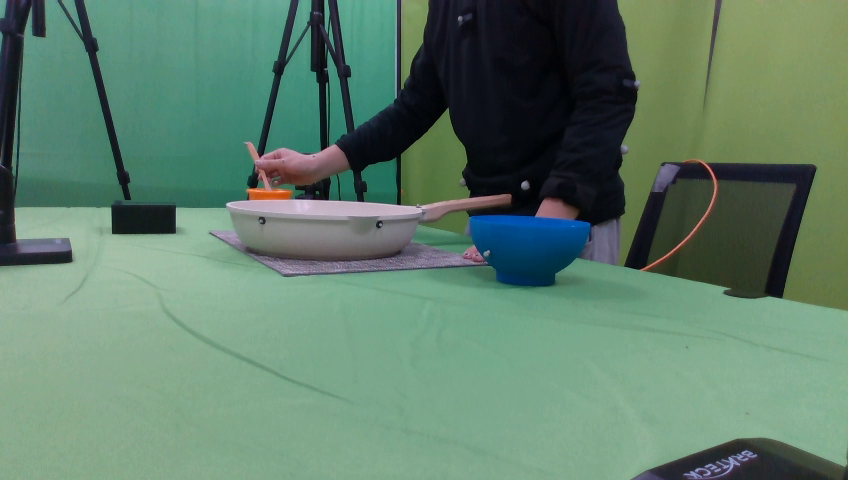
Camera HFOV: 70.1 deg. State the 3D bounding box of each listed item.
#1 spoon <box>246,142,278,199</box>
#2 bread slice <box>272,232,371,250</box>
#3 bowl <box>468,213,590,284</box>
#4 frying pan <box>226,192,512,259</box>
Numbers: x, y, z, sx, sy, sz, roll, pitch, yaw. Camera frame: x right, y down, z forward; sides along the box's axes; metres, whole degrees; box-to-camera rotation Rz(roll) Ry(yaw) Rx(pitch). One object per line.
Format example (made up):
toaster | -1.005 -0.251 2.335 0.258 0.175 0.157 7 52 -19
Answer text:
spoon | -0.332 -0.127 1.255 0.042 0.193 0.021 -14 -18 -31
bread slice | -0.148 0.001 0.929 0.133 0.018 0.107 5 7 38
bowl | 0.128 0.011 0.755 0.151 0.077 0.151 2 7 0
frying pan | -0.058 -0.041 0.974 0.490 0.102 0.305 -11 13 -26
